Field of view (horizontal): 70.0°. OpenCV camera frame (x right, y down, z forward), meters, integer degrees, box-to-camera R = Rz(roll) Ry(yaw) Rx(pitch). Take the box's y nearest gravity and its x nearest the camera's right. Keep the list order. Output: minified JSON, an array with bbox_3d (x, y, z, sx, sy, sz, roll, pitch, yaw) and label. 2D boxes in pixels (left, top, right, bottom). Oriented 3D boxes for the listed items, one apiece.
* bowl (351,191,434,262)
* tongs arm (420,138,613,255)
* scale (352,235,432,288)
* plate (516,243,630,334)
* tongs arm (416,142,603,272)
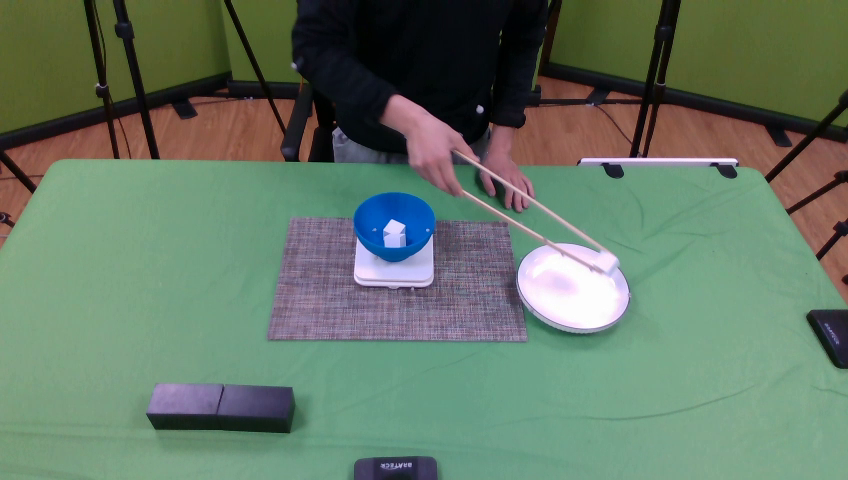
[{"bbox_3d":[-0.057,-0.013,1.119,0.151,0.077,0.150,1,46,-1],"label":"bowl"},{"bbox_3d":[0.162,-0.077,1.060,0.387,0.028,0.028,33,93,3],"label":"tongs arm"},{"bbox_3d":[-0.060,0.010,1.171,0.149,0.032,0.199,2,46,-3],"label":"scale"},{"bbox_3d":[0.272,0.092,1.120,0.208,0.039,0.206,2,46,-2],"label":"plate"},{"bbox_3d":[0.149,-0.058,1.060,0.384,0.026,0.051,29,90,3],"label":"tongs arm"}]
